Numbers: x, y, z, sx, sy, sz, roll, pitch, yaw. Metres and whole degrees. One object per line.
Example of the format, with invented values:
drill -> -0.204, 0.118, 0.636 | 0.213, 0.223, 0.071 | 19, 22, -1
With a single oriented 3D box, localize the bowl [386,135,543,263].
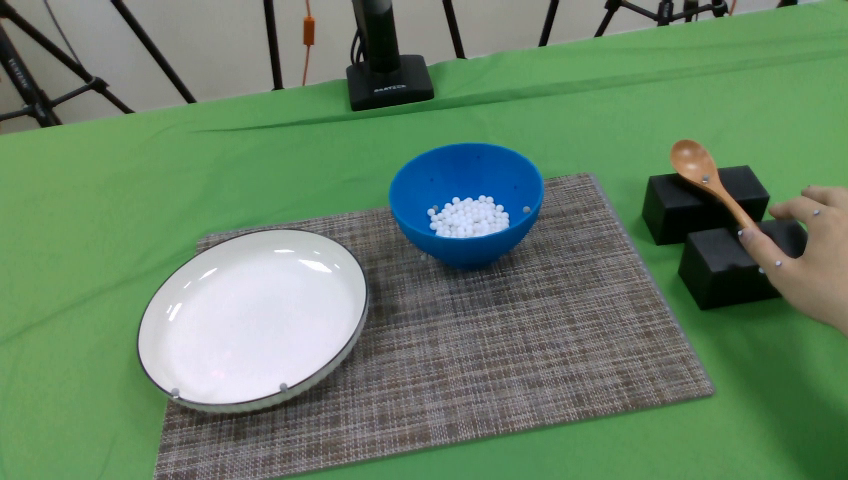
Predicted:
bowl -> 0.042, -0.030, 0.606 | 0.151, 0.077, 0.150 | -4, 44, 4

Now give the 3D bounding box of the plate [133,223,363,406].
plate -> -0.157, 0.067, 0.563 | 0.207, 0.039, 0.205 | -4, 44, 4

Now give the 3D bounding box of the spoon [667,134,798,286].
spoon -> 0.279, -0.034, 0.553 | 0.041, 0.022, 0.191 | -11, 45, -5
